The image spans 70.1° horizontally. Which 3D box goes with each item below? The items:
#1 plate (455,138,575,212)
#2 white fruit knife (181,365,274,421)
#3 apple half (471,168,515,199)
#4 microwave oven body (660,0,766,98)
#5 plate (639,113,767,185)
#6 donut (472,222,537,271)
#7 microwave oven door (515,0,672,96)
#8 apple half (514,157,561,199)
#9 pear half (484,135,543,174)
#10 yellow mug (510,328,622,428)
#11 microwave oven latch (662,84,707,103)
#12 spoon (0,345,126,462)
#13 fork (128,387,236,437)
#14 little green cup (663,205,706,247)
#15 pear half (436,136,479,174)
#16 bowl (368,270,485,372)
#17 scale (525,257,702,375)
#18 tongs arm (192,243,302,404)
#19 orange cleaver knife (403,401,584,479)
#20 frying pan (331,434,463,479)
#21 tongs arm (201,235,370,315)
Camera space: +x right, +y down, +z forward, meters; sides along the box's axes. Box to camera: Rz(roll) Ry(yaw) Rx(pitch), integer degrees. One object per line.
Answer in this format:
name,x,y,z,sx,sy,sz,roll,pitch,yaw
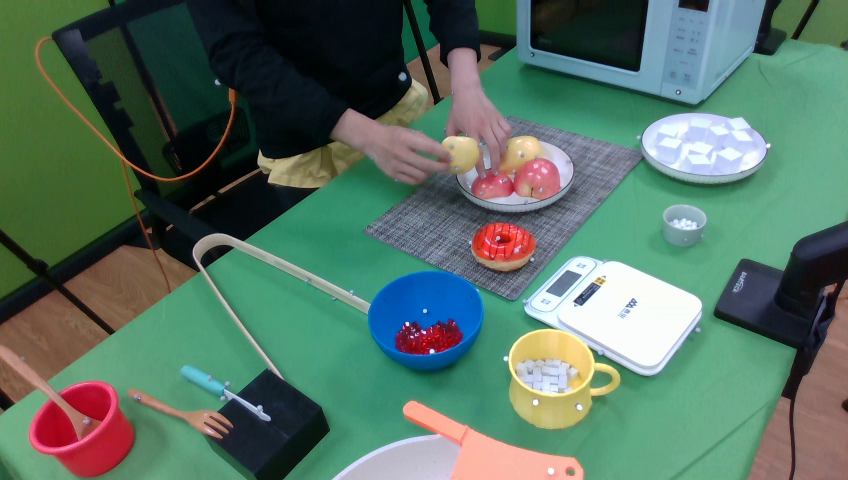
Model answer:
plate,0.159,-0.111,1.063,0.209,0.038,0.208,-4,40,4
white fruit knife,-0.245,0.187,0.747,0.205,0.027,0.016,9,41,41
apple half,0.119,-0.106,1.056,0.081,0.033,0.081,-4,40,4
microwave oven body,0.472,-0.513,1.317,0.438,0.261,0.327,26,51,34
plate,0.489,-0.157,1.074,0.207,0.039,0.206,-4,40,4
donut,0.123,0.008,0.923,0.099,0.048,0.098,-3,38,3
microwave oven door,0.343,-0.455,1.259,0.353,0.245,0.039,26,51,33
apple half,0.195,-0.112,1.032,0.080,0.053,0.075,14,42,29
pear half,0.158,-0.154,1.089,0.110,0.056,0.076,-24,40,-4
yellow mug,0.168,0.164,0.722,0.130,0.064,0.099,0,40,8
microwave oven latch,0.517,-0.296,1.204,0.078,0.029,0.030,27,52,35
spoon,-0.434,0.191,0.720,0.194,0.021,0.042,47,53,-7
fork,-0.305,0.207,0.744,0.206,0.019,0.028,3,41,36
little green cup,0.396,-0.020,0.926,0.061,0.039,0.061,-4,40,4
pear half,0.055,-0.127,0.932,0.070,0.088,0.031,-38,61,8
bowl,0.007,0.119,0.791,0.151,0.077,0.150,-5,40,4
scale,0.254,0.091,0.821,0.199,0.032,0.149,28,51,35
tongs arm,-0.268,0.109,0.883,0.028,0.028,0.384,-35,46,-18
orange cleaver knife,0.062,0.222,0.609,0.210,0.012,0.077,15,49,25
frying pan,-0.089,0.306,0.564,0.487,0.103,0.306,10,41,7
tongs arm,-0.209,0.062,0.924,0.381,0.026,0.051,23,53,32
